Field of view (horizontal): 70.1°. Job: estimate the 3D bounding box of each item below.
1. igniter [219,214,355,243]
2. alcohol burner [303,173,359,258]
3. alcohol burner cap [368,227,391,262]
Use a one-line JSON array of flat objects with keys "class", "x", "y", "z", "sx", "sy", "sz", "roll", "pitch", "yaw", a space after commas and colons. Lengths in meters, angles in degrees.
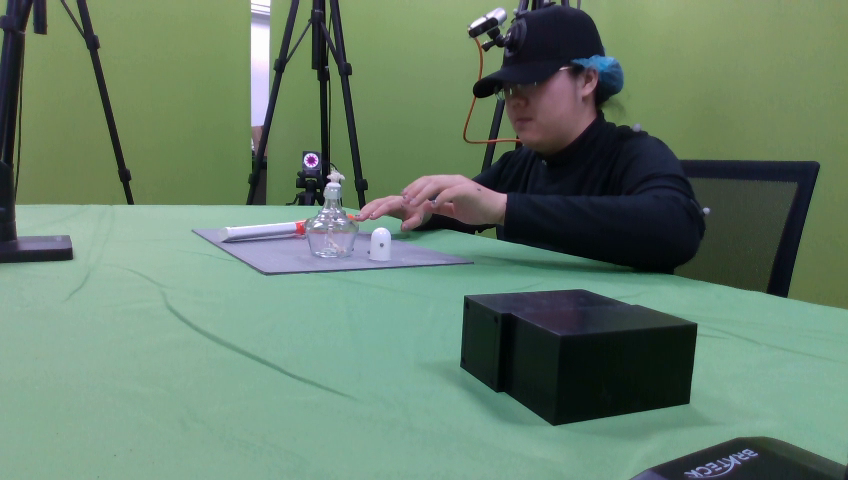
[{"class": "igniter", "x": -0.219, "y": -0.021, "z": 1.033, "sx": 0.057, "sy": 0.025, "sz": 0.278, "roll": -20, "pitch": -7, "yaw": 39}, {"class": "alcohol burner", "x": -0.130, "y": -0.034, "z": 0.850, "sx": 0.078, "sy": 0.119, "sz": 0.078, "roll": 2, "pitch": 5, "yaw": 0}, {"class": "alcohol burner cap", "x": -0.060, "y": 0.006, "z": 0.837, "sx": 0.034, "sy": 0.048, "sz": 0.034, "roll": 2, "pitch": 7, "yaw": 0}]
